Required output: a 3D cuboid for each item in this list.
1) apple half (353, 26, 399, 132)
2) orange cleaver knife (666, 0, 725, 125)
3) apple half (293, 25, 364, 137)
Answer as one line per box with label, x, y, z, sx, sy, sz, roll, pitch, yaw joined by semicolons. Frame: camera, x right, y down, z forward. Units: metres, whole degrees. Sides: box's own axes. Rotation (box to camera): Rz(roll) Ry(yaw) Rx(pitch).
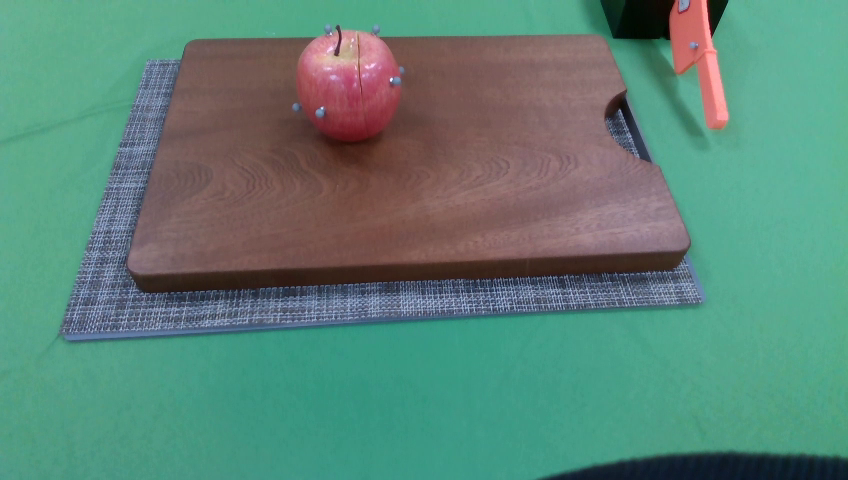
apple half;-0.036;-0.126;0.478;0.033;0.082;0.080;-5;53;-2
orange cleaver knife;0.255;-0.200;0.580;0.012;0.077;0.210;1;76;-5
apple half;-0.075;-0.123;0.476;0.053;0.075;0.080;-5;58;-2
